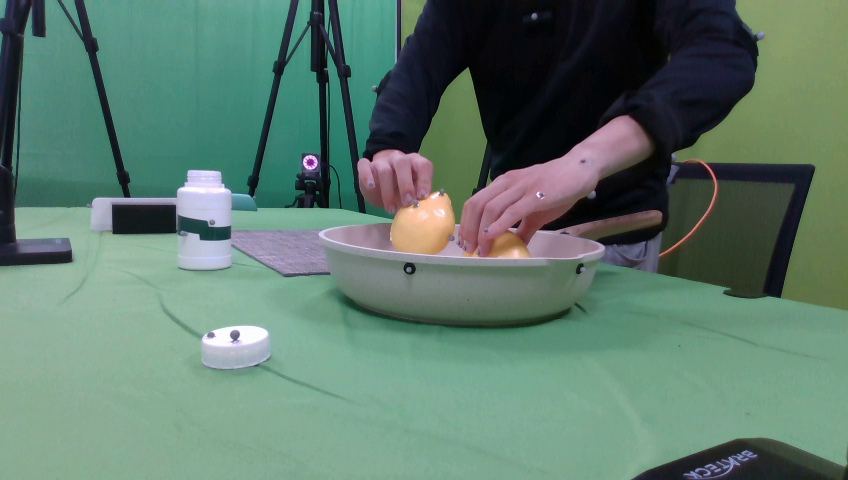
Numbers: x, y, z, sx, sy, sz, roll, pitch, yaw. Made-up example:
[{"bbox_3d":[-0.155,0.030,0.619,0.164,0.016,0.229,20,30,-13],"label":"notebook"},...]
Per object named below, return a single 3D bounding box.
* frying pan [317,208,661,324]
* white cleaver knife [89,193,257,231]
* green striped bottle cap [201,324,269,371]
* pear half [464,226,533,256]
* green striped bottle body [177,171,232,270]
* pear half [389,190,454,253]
[{"bbox_3d":[0.121,0.005,0.691,0.490,0.102,0.305,-12,15,-33],"label":"frying pan"},{"bbox_3d":[-0.454,-0.052,1.115,0.288,0.066,0.021,-4,14,-27],"label":"white cleaver knife"},{"bbox_3d":[-0.129,0.073,0.415,0.044,0.020,0.044,2,8,0],"label":"green striped bottle cap"},{"bbox_3d":[0.077,0.009,0.642,0.077,0.056,0.109,19,19,-32],"label":"pear half"},{"bbox_3d":[-0.273,-0.026,0.753,0.063,0.119,0.063,2,7,0],"label":"green striped bottle body"},{"bbox_3d":[-0.002,-0.024,0.661,0.070,0.088,0.031,25,-18,14],"label":"pear half"}]
